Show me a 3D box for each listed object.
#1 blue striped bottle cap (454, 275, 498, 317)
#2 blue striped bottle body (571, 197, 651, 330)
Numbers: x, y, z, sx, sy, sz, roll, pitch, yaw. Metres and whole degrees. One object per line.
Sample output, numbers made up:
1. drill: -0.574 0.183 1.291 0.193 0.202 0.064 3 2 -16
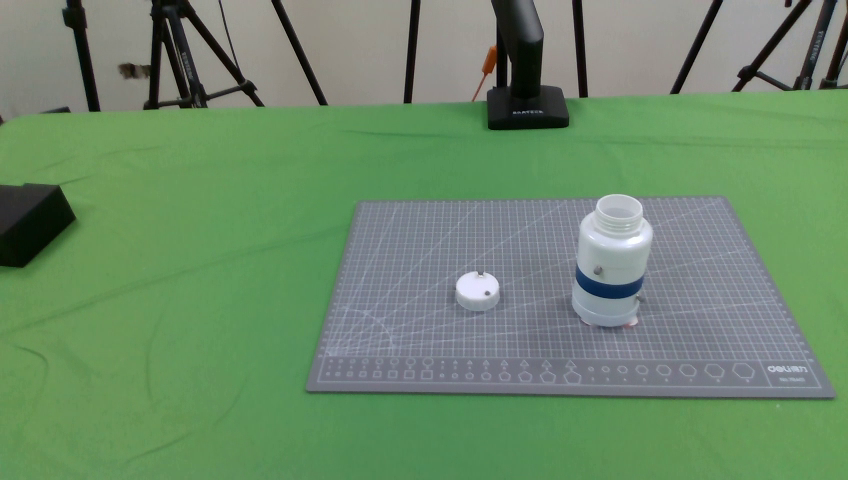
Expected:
1. blue striped bottle cap: 0.052 0.056 0.613 0.044 0.021 0.044 -2 37 2
2. blue striped bottle body: 0.172 0.020 0.560 0.063 0.122 0.062 -3 38 3
